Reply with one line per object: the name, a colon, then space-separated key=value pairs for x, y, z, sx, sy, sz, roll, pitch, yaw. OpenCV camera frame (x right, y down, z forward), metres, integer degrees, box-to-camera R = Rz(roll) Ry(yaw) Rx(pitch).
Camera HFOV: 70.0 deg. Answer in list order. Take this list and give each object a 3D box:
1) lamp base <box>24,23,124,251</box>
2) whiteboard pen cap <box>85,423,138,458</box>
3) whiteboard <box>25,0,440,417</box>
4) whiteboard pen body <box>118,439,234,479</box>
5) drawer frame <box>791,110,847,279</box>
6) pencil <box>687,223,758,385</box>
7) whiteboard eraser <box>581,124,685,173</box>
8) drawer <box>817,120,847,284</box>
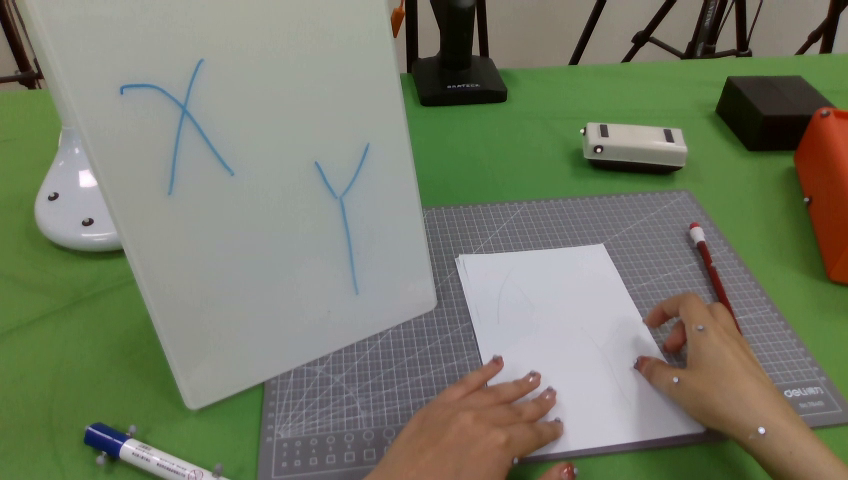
lamp base: x=-0.323 y=-0.107 z=0.584 sx=0.178 sy=0.182 sz=0.160 roll=23 pitch=45 yaw=26
whiteboard pen cap: x=-0.220 y=0.141 z=0.428 sx=0.033 sy=0.018 sz=0.018 roll=14 pitch=43 yaw=17
whiteboard: x=-0.134 y=-0.059 z=0.486 sx=0.218 sy=0.307 sz=0.142 roll=-20 pitch=26 yaw=-22
whiteboard pen body: x=-0.166 y=0.157 z=0.412 sx=0.140 sy=0.017 sz=0.017 roll=14 pitch=43 yaw=15
drawer frame: x=0.502 y=-0.035 z=0.607 sx=0.201 sy=0.083 sz=0.212 roll=10 pitch=41 yaw=10
pencil: x=0.270 y=0.050 z=0.552 sx=0.012 sy=0.012 sz=0.192 roll=3 pitch=43 yaw=1
whiteboard eraser: x=0.243 y=-0.106 z=0.711 sx=0.112 sy=0.042 sz=0.055 roll=6 pitch=43 yaw=5
drawer: x=0.501 y=-0.031 z=0.605 sx=0.194 sy=0.074 sz=0.210 roll=11 pitch=41 yaw=12
